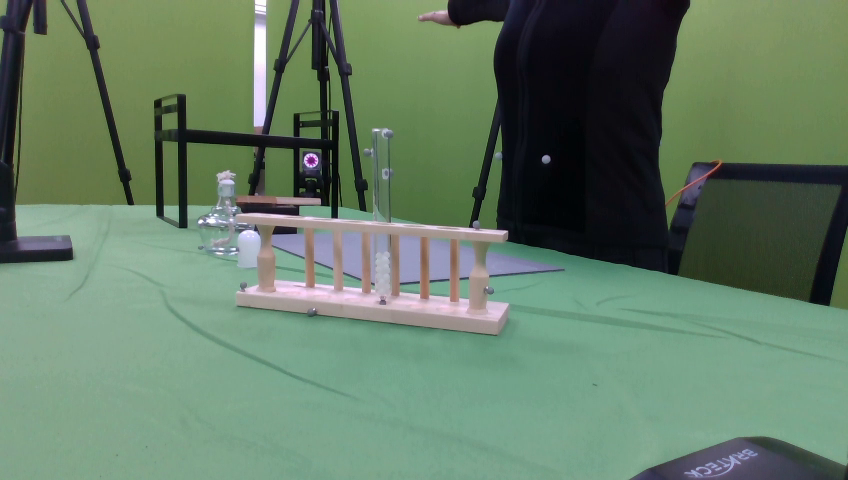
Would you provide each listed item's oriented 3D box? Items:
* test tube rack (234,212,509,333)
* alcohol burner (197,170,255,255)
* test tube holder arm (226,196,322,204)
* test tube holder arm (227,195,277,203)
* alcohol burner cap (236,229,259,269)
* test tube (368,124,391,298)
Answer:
[{"bbox_3d":[-0.046,0.023,0.547,0.242,0.085,0.067,4,7,15],"label":"test tube rack"},{"bbox_3d":[-0.280,-0.039,0.856,0.078,0.119,0.078,2,9,0],"label":"alcohol burner"},{"bbox_3d":[-0.274,-0.074,1.118,0.179,0.015,0.013,-2,-7,-34],"label":"test tube holder arm"},{"bbox_3d":[-0.308,-0.074,1.088,0.088,0.015,0.010,-2,-7,-34],"label":"test tube holder arm"},{"bbox_3d":[-0.220,0.010,0.759,0.034,0.048,0.034,0,12,0],"label":"alcohol burner cap"},{"bbox_3d":[-0.038,-0.023,0.519,0.017,0.150,0.017,0,12,0],"label":"test tube"}]
